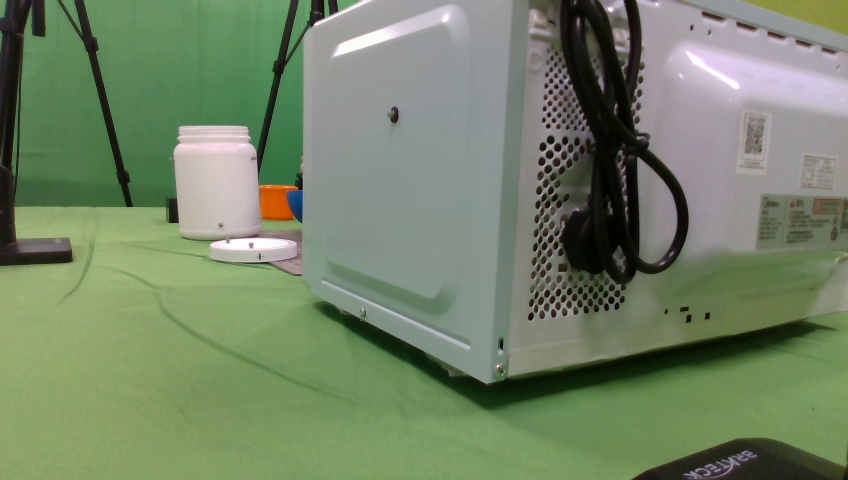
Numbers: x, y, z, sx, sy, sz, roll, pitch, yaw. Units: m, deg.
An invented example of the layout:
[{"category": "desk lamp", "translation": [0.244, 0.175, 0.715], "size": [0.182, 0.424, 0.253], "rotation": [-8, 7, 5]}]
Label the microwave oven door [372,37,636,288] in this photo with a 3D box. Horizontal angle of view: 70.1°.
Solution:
[{"category": "microwave oven door", "translation": [0.109, -0.080, 0.686], "size": [0.358, 0.243, 0.039], "rotation": [-2, 9, -33]}]

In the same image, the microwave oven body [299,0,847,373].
[{"category": "microwave oven body", "translation": [0.152, -0.055, 0.542], "size": [0.444, 0.260, 0.324], "rotation": [-2, 7, -33]}]

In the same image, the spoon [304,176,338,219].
[{"category": "spoon", "translation": [-0.201, -0.084, 1.146], "size": [0.042, 0.021, 0.193], "rotation": [3, 30, -25]}]

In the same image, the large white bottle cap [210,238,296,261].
[{"category": "large white bottle cap", "translation": [-0.236, 0.012, 0.839], "size": [0.115, 0.018, 0.115], "rotation": [1, 7, 0]}]

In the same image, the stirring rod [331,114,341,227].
[{"category": "stirring rod", "translation": [-0.137, -0.107, 0.937], "size": [0.006, 0.176, 0.014], "rotation": [-4, 2, -13]}]

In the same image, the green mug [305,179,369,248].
[{"category": "green mug", "translation": [-0.133, -0.044, 0.977], "size": [0.092, 0.105, 0.126], "rotation": [6, 8, 32]}]

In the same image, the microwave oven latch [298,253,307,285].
[{"category": "microwave oven latch", "translation": [-0.081, 0.027, 0.583], "size": [0.079, 0.029, 0.030], "rotation": [-2, 7, -33]}]

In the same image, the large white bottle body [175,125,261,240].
[{"category": "large white bottle body", "translation": [-0.349, -0.100, 1.025], "size": [0.131, 0.184, 0.130], "rotation": [-1, 9, 0]}]

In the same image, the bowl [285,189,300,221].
[{"category": "bowl", "translation": [-0.180, -0.051, 1.113], "size": [0.151, 0.077, 0.151], "rotation": [2, 8, 0]}]
